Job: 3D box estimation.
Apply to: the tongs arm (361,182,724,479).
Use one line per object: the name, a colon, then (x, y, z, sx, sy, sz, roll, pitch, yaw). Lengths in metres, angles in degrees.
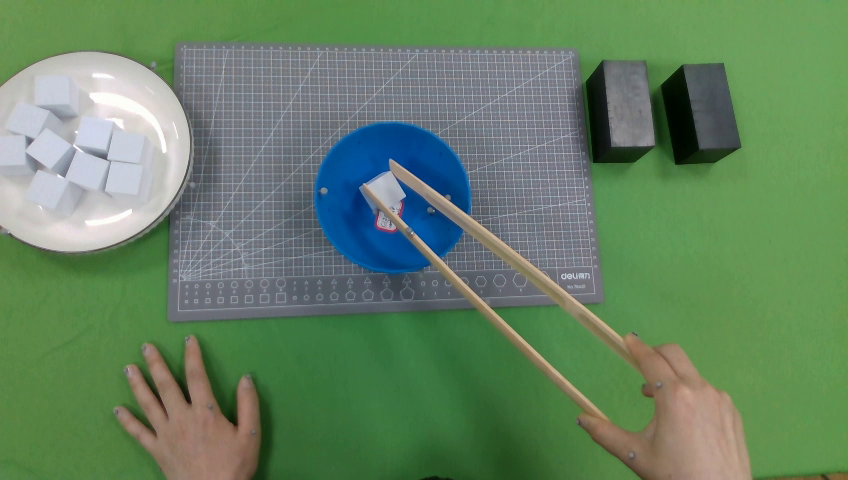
tongs arm: (0.080, 0.063, 0.517, 0.051, 0.027, 0.381, -37, 66, -16)

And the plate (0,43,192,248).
plate: (-0.335, -0.091, 0.601, 0.208, 0.039, 0.206, 1, 79, -6)

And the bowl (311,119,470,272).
bowl: (-0.035, -0.036, 0.608, 0.152, 0.077, 0.150, 2, 79, -7)

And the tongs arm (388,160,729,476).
tongs arm: (0.097, 0.048, 0.524, 0.028, 0.028, 0.384, -39, 67, -21)
